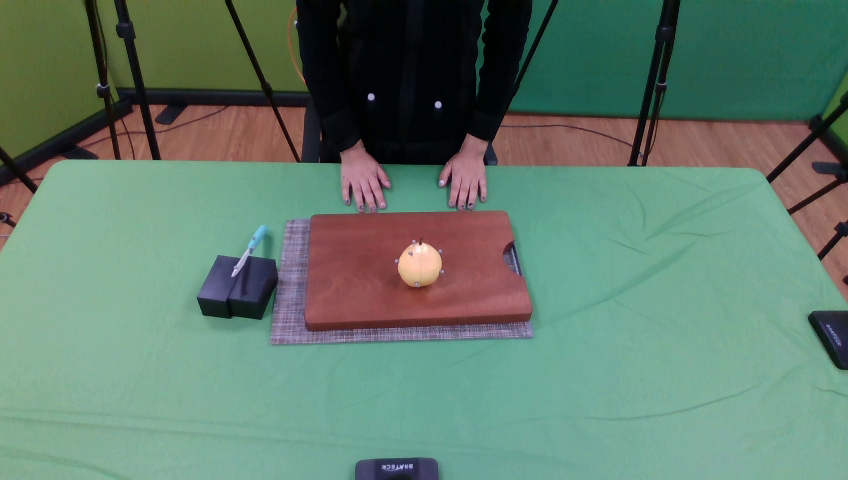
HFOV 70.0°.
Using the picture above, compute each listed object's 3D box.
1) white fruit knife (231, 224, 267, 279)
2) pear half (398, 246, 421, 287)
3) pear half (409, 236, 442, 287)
[{"bbox_3d":[-0.318,0.018,1.104,0.016,0.027,0.206,10,25,-4],"label":"white fruit knife"},{"bbox_3d":[-0.029,0.046,1.066,0.031,0.088,0.070,-18,55,-20],"label":"pear half"},{"bbox_3d":[0.004,0.029,1.070,0.056,0.110,0.076,-18,53,-20],"label":"pear half"}]
